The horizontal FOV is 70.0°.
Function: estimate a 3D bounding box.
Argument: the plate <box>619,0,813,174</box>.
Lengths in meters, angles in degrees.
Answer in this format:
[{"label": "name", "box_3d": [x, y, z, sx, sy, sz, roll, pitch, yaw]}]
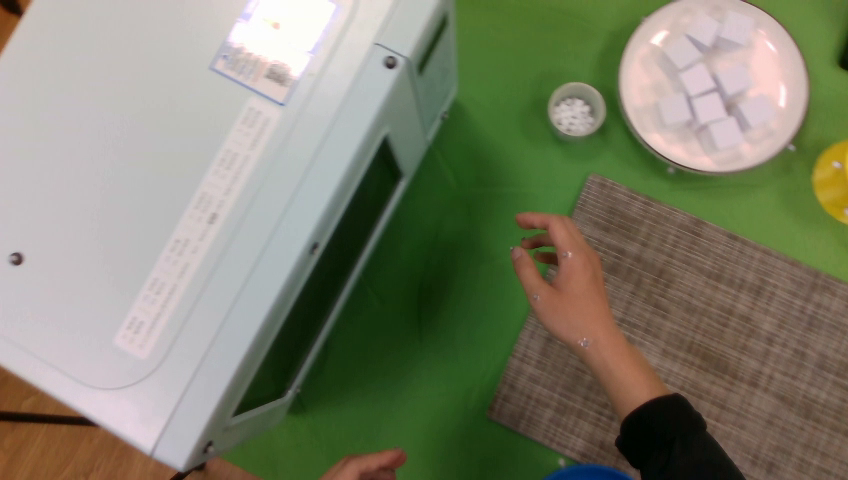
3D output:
[{"label": "plate", "box_3d": [0.325, -0.174, 0.689, 0.207, 0.039, 0.207, 0, 83, 3]}]

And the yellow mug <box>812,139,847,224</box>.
[{"label": "yellow mug", "box_3d": [0.490, -0.055, 0.652, 0.100, 0.064, 0.130, -12, 84, 2]}]

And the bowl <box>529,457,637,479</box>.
[{"label": "bowl", "box_3d": [0.161, 0.294, 0.625, 0.151, 0.077, 0.151, 0, 83, 4]}]

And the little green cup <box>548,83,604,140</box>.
[{"label": "little green cup", "box_3d": [0.171, -0.144, 0.693, 0.061, 0.039, 0.061, 0, 84, 3]}]

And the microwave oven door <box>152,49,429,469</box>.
[{"label": "microwave oven door", "box_3d": [-0.101, 0.023, 0.570, 0.039, 0.244, 0.355, 28, 86, 7]}]

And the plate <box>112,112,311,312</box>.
[{"label": "plate", "box_3d": [-0.219, -0.028, 0.638, 0.209, 0.038, 0.208, 0, 86, 3]}]

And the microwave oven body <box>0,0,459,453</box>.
[{"label": "microwave oven body", "box_3d": [-0.208, -0.082, 0.593, 0.325, 0.261, 0.441, 28, 86, 6]}]

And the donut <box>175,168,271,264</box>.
[{"label": "donut", "box_3d": [-0.206, -0.025, 0.625, 0.099, 0.048, 0.099, 0, 89, 4]}]

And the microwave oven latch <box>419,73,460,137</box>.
[{"label": "microwave oven latch", "box_3d": [0.012, -0.157, 0.686, 0.030, 0.029, 0.079, 32, 87, 6]}]
